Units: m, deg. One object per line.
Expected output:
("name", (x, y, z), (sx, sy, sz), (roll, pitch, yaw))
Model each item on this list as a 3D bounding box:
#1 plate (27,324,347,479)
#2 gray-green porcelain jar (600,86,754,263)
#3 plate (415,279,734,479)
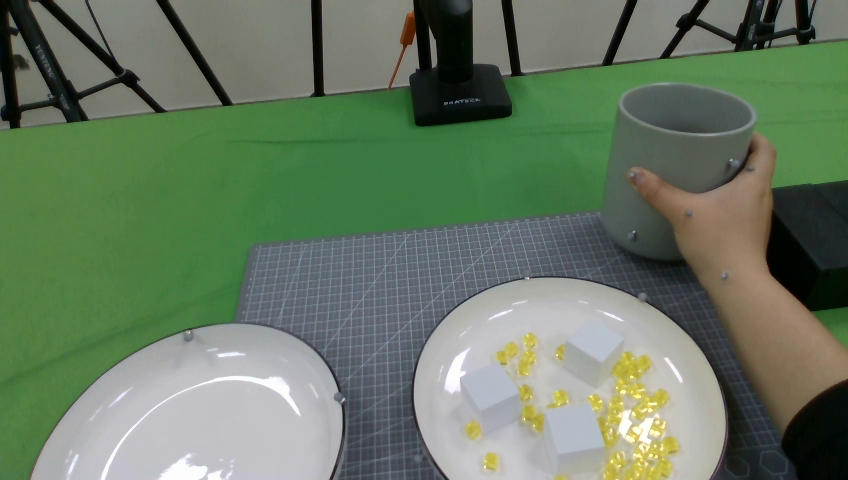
("plate", (-0.152, 0.147, 0.408), (0.209, 0.038, 0.207), (-4, 42, 4))
("gray-green porcelain jar", (0.209, -0.052, 0.519), (0.106, 0.127, 0.105), (-2, 36, 2))
("plate", (0.098, 0.113, 0.420), (0.207, 0.039, 0.205), (-3, 42, 3))
